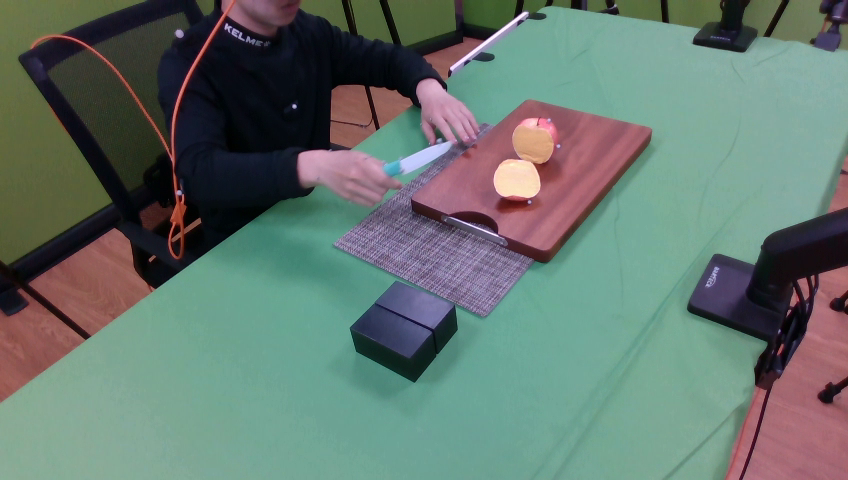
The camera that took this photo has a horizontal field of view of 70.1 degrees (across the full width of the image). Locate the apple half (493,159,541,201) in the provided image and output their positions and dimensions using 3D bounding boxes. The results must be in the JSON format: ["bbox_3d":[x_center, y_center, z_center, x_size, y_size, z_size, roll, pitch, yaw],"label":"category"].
[{"bbox_3d":[0.153,-0.095,0.999,0.081,0.033,0.081,-1,65,2],"label":"apple half"}]

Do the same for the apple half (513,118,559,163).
[{"bbox_3d":[0.202,-0.180,1.066,0.080,0.075,0.053,14,41,29],"label":"apple half"}]

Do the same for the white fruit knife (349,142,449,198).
[{"bbox_3d":[-0.041,-0.103,0.873,0.206,0.027,0.016,-20,26,40],"label":"white fruit knife"}]
